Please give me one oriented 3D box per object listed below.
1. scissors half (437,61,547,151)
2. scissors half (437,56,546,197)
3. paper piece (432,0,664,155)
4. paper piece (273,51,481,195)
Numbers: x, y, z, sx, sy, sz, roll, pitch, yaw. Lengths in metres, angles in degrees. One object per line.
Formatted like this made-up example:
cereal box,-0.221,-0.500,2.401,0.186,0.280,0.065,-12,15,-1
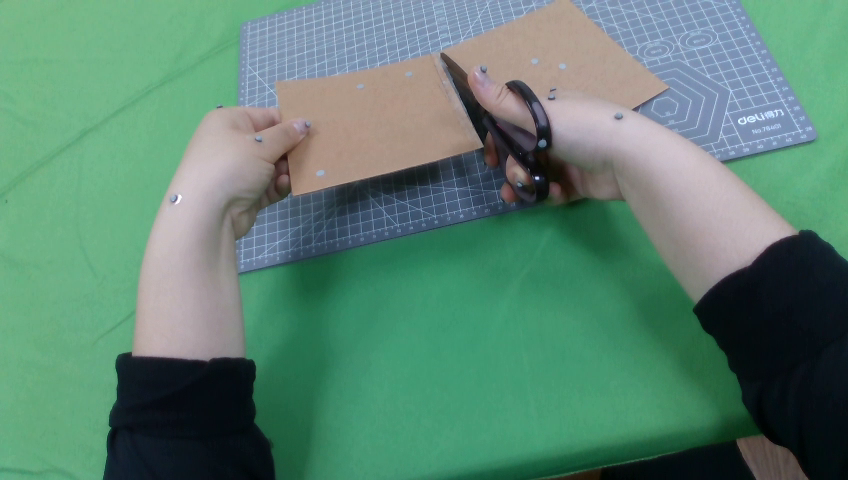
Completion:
scissors half,0.042,-0.107,0.435,0.013,0.040,0.173,-16,31,-14
scissors half,0.044,-0.092,0.450,0.013,0.040,0.173,-20,53,-11
paper piece,0.098,-0.139,0.492,0.135,0.004,0.134,-29,64,-13
paper piece,-0.042,-0.094,0.453,0.138,0.009,0.134,-16,44,-3
